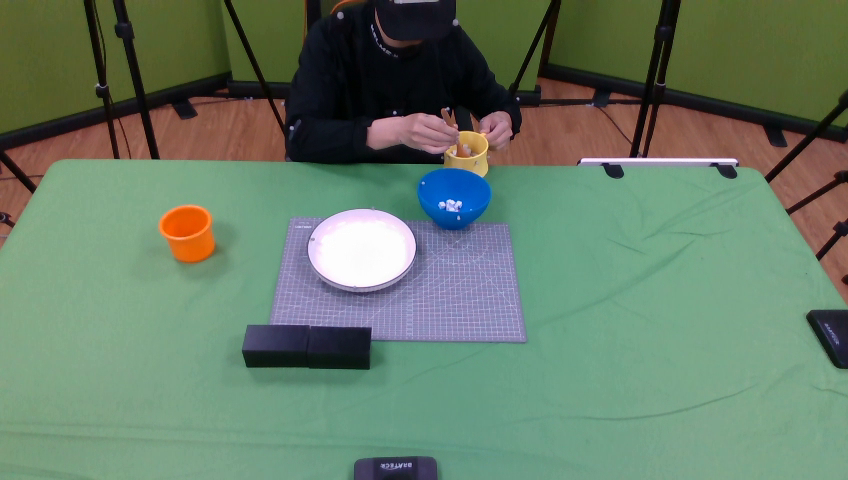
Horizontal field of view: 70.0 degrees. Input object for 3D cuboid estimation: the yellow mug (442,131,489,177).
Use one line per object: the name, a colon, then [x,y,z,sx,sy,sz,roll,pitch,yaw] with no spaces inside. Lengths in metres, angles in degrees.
yellow mug: [0.099,-0.191,1.315,0.099,0.064,0.131,31,54,30]

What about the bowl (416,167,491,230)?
bowl: [0.057,-0.074,1.231,0.151,0.077,0.150,3,42,-2]

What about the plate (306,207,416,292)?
plate: [-0.119,0.021,1.153,0.209,0.038,0.208,2,46,-2]

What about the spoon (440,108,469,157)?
spoon: [0.063,-0.208,1.249,0.041,0.195,0.021,2,59,22]
